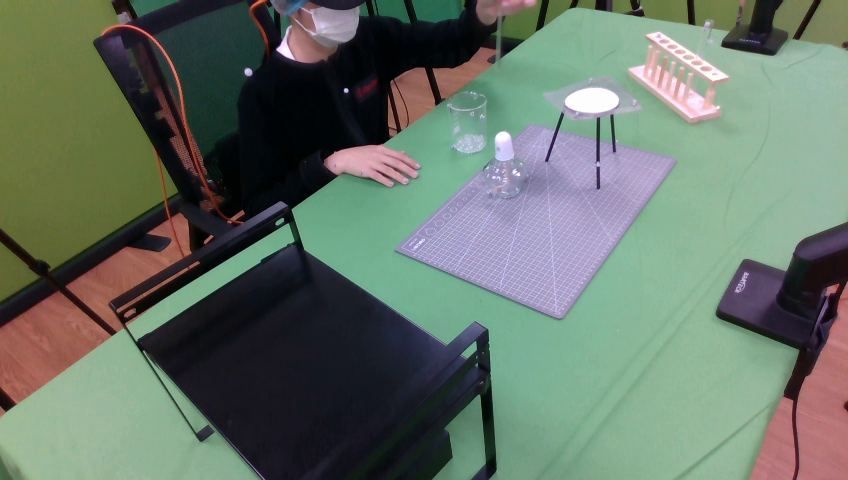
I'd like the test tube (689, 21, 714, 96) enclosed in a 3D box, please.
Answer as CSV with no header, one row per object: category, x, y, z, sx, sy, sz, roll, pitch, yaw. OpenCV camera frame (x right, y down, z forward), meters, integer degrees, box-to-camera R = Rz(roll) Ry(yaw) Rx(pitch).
test tube,0.542,-0.353,1.184,0.017,0.151,0.017,-2,40,2

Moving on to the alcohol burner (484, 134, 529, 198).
alcohol burner,0.141,-0.133,1.041,0.078,0.119,0.077,-5,43,5

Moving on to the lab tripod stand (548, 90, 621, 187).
lab tripod stand,0.289,-0.184,1.062,0.148,0.132,0.147,-6,41,6

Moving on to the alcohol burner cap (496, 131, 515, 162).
alcohol burner cap,0.135,-0.160,1.019,0.034,0.048,0.033,-8,38,7

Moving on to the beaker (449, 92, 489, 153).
beaker,0.092,-0.228,1.177,0.073,0.101,0.084,15,45,24

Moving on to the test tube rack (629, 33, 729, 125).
test tube rack,0.516,-0.337,1.247,0.067,0.085,0.240,-14,41,-7

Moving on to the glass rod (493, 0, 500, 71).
glass rod,0.130,-0.396,1.065,0.008,0.200,0.008,-1,37,1

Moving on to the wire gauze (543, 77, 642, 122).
wire gauze,0.282,-0.236,1.020,0.125,0.011,0.120,-15,40,-6
